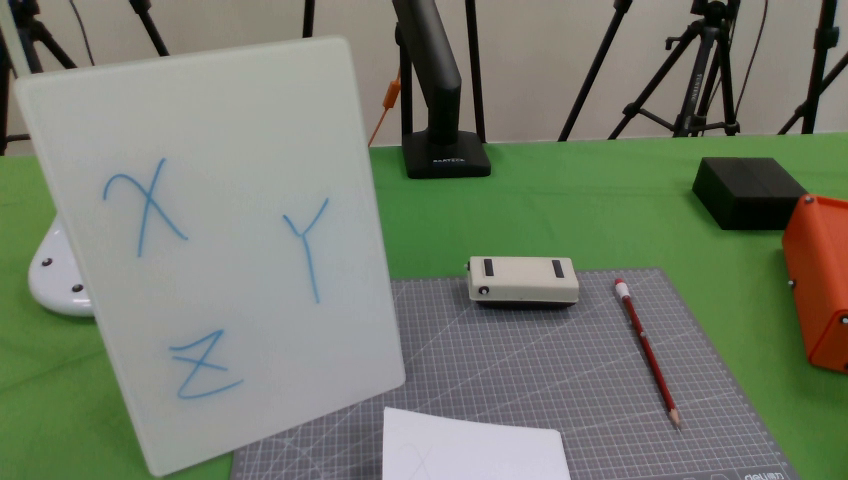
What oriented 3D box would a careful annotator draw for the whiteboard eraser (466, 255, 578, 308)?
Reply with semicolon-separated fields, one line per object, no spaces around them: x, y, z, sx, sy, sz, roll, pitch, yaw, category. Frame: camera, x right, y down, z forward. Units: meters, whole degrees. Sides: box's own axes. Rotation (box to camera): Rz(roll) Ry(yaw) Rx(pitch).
0.102;0.044;0.637;0.113;0.042;0.055;2;38;-1;whiteboard eraser

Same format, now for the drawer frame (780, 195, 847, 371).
0.493;0.053;0.619;0.201;0.083;0.212;12;37;13;drawer frame

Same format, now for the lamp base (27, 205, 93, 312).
-0.345;-0.044;0.615;0.178;0.182;0.160;22;41;28;lamp base

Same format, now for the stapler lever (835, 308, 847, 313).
0.459;0.078;0.576;0.117;0.040;0.026;13;36;19;stapler lever

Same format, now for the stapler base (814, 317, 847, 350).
0.457;0.097;0.589;0.130;0.024;0.041;14;37;18;stapler base

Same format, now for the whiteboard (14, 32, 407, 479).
-0.159;0.000;0.511;0.218;0.307;0.142;-16;21;-22;whiteboard

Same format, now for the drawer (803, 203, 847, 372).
0.494;0.056;0.618;0.194;0.074;0.210;12;37;14;drawer

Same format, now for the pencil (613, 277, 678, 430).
0.215;0.103;0.593;0.012;0.012;0.192;1;38;-2;pencil
